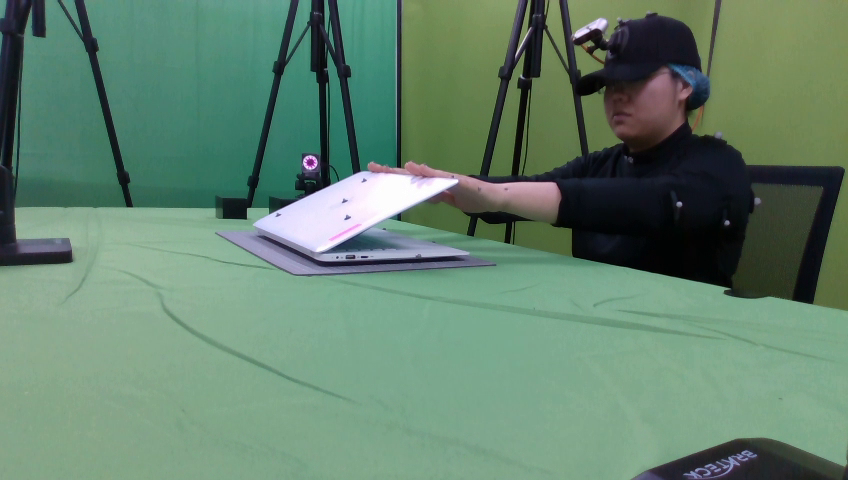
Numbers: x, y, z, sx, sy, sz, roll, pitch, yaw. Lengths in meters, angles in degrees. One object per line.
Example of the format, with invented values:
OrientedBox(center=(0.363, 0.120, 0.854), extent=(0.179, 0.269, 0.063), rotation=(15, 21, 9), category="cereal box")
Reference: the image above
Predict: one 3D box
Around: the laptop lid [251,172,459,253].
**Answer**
OrientedBox(center=(-0.126, -0.057, 0.955), extent=(0.242, 0.013, 0.355), rotation=(-28, 20, -22), category="laptop lid")

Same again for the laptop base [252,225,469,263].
OrientedBox(center=(-0.117, 0.005, 0.970), extent=(0.237, 0.023, 0.352), rotation=(2, 6, -30), category="laptop base")
